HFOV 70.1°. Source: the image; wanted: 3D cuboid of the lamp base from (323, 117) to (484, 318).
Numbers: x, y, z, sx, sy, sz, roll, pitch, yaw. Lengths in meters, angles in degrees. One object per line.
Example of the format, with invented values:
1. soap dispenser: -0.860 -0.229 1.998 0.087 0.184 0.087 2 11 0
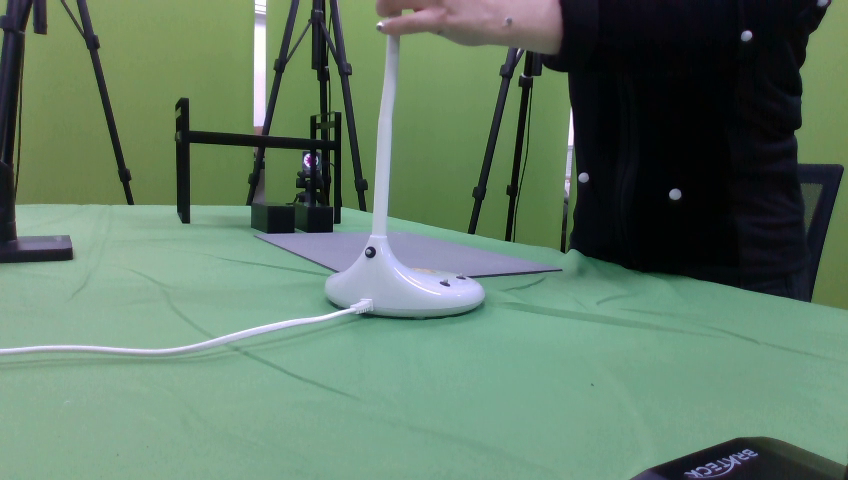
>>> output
1. lamp base: -0.021 -0.025 0.582 0.160 0.180 0.179 4 10 16
